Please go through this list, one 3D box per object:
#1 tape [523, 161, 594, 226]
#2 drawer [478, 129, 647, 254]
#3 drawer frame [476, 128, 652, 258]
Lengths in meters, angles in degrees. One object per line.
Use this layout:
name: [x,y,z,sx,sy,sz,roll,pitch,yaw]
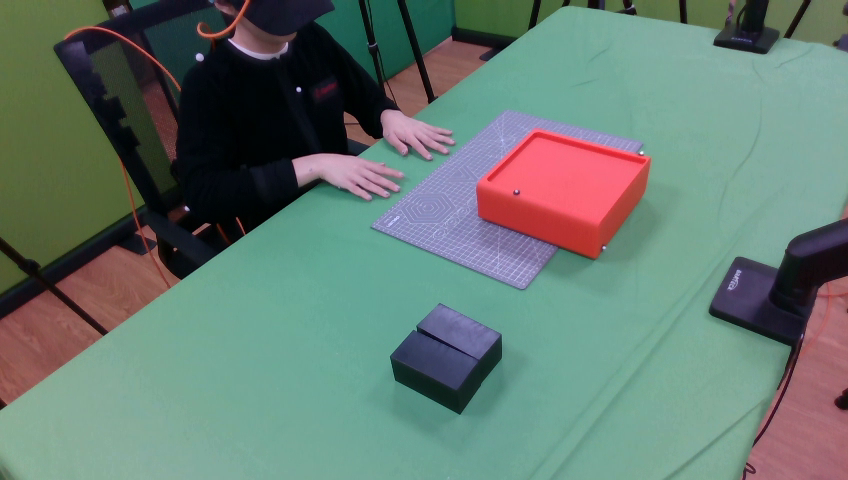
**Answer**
tape: [0.221,-0.078,0.995,0.117,0.053,0.116,-4,40,4]
drawer: [0.227,-0.085,0.994,0.210,0.073,0.195,23,48,30]
drawer frame: [0.229,-0.086,0.992,0.212,0.083,0.202,22,48,29]
